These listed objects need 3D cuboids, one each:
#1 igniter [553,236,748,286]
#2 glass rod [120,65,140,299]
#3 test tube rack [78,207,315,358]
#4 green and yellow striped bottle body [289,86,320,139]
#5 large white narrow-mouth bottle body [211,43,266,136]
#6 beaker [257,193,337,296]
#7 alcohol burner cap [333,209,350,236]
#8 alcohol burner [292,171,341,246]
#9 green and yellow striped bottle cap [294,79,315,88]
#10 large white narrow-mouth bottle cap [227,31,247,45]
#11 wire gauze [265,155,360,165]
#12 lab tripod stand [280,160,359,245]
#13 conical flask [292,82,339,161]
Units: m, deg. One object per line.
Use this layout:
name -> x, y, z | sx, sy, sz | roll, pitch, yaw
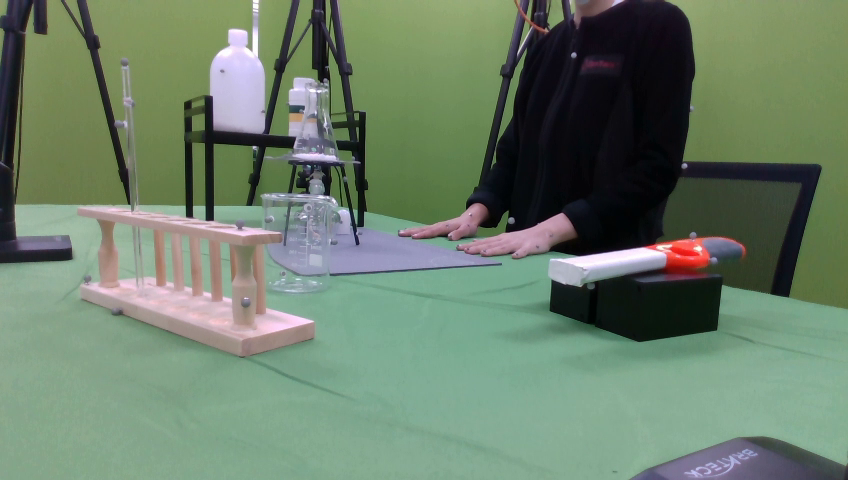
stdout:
igniter -> 0.221, 0.017, 0.559 | 0.278, 0.025, 0.057 | -4, 14, -39
glass rod -> -0.249, -0.047, 0.513 | 0.008, 0.199, 0.008 | -1, 4, 0
test tube rack -> -0.196, 0.023, 0.499 | 0.241, 0.085, 0.067 | 8, 8, 37
green and yellow striped bottle body -> -0.250, -0.272, 1.261 | 0.063, 0.119, 0.063 | 3, 7, 0
large white narrow-mouth bottle body -> -0.361, -0.302, 1.176 | 0.102, 0.194, 0.102 | 1, 7, 0
beaker -> -0.130, 0.004, 0.628 | 0.084, 0.100, 0.074 | 5, 8, 15
alcohol burner cap -> -0.151, -0.033, 1.116 | 0.034, 0.048, 0.034 | 3, 7, 0
alcohol burner -> -0.171, -0.050, 0.962 | 0.078, 0.119, 0.078 | 1, 6, 0
green and yellow striped bottle cap -> -0.248, -0.323, 1.256 | 0.045, 0.020, 0.045 | 3, 8, 0
large white narrow-mouth bottle cap -> -0.361, -0.388, 1.166 | 0.038, 0.024, 0.037 | 1, 7, 0
wire gauze -> -0.181, -0.128, 0.969 | 0.126, 0.011, 0.121 | -3, 7, -26
lab tripod stand -> -0.176, -0.062, 0.973 | 0.148, 0.131, 0.148 | 1, 7, 0
conical flask -> -0.170, -0.185, 0.957 | 0.075, 0.122, 0.075 | 2, 7, 0
